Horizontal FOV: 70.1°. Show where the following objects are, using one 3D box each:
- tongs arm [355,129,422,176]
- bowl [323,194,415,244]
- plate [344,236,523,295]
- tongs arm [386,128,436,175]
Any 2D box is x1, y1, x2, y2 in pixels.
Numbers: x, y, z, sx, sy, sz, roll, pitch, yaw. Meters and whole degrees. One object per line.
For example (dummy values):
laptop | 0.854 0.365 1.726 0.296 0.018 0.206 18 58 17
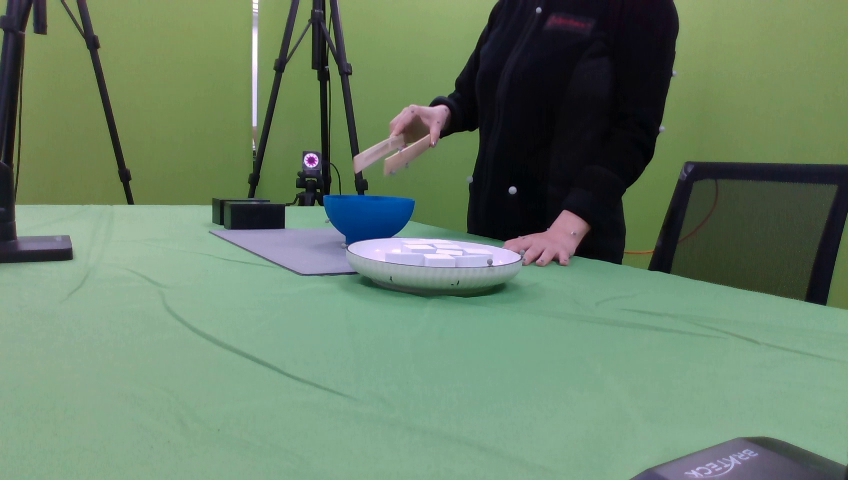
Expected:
tongs arm | -0.056 -0.159 1.049 0.028 0.028 0.388 -5 15 13
bowl | -0.090 -0.032 0.986 0.151 0.077 0.151 2 7 0
plate | 0.010 0.030 0.707 0.208 0.039 0.207 3 8 0
tongs arm | -0.027 -0.160 1.044 0.050 0.026 0.385 -1 16 15
